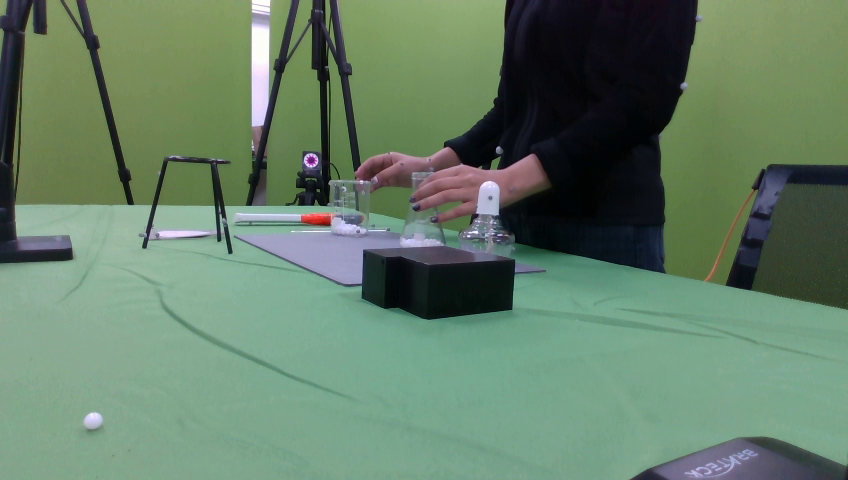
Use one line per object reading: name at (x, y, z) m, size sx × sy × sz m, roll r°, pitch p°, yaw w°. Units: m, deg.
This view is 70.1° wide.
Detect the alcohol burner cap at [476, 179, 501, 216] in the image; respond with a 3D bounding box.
alcohol burner cap at (0.086, -0.057, 0.801) m, size 0.034 × 0.048 × 0.034 m, roll 4°, pitch 2°, yaw 0°

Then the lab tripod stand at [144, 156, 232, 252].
lab tripod stand at (-0.325, -0.054, 0.881) m, size 0.148 × 0.131 × 0.148 m, roll 4°, pitch 7°, yaw 0°

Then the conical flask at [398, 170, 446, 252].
conical flask at (-0.003, -0.046, 0.929) m, size 0.075 × 0.122 × 0.075 m, roll 0°, pitch 10°, yaw 0°

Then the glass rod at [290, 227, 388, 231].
glass rod at (-0.161, -0.023, 1.177) m, size 0.201 × 0.008 × 0.008 m, roll -2°, pitch 8°, yaw -28°

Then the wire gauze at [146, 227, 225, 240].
wire gauze at (-0.400, -0.012, 1.019) m, size 0.122 × 0.011 × 0.124 m, roll -1°, pitch 6°, yaw -26°

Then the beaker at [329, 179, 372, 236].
beaker at (-0.137, -0.061, 1.101) m, size 0.084 × 0.100 × 0.074 m, roll 4°, pitch 7°, yaw 21°

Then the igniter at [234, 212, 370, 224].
igniter at (-0.247, -0.046, 1.253) m, size 0.278 × 0.025 × 0.057 m, roll -1°, pitch -3°, yaw -27°

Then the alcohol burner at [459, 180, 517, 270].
alcohol burner at (0.086, -0.021, 0.805) m, size 0.078 × 0.119 × 0.078 m, roll 3°, pitch 9°, yaw 0°
